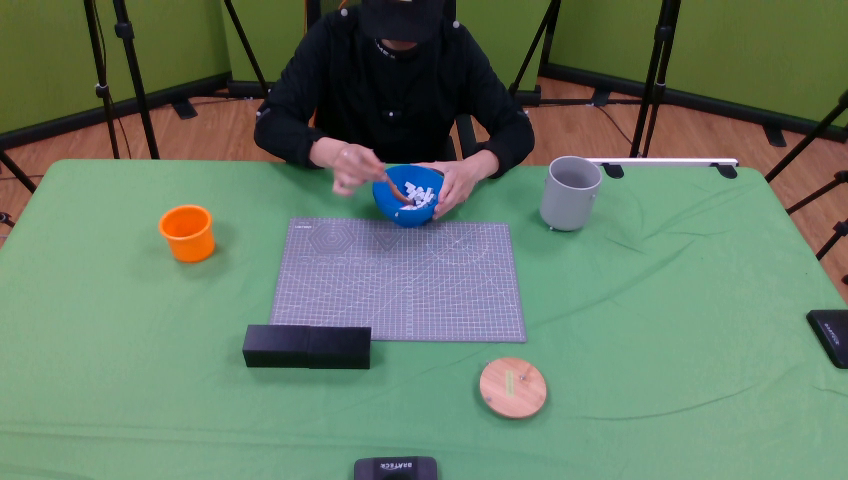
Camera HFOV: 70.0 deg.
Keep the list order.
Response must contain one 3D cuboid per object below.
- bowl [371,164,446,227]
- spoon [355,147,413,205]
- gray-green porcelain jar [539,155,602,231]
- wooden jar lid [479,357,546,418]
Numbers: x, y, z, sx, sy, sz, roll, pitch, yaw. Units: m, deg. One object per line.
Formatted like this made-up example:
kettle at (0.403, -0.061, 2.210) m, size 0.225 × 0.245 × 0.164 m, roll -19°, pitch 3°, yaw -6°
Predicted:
bowl at (-0.033, -0.079, 1.229) m, size 0.151 × 0.077 × 0.150 m, roll 2°, pitch 43°, yaw -2°
spoon at (-0.074, -0.118, 1.133) m, size 0.041 × 0.195 × 0.021 m, roll 26°, pitch 74°, yaw 40°
gray-green porcelain jar at (0.294, -0.091, 1.235) m, size 0.106 × 0.127 × 0.105 m, roll 2°, pitch 46°, yaw -2°
wooden jar lid at (0.142, 0.240, 0.979) m, size 0.108 × 0.021 × 0.107 m, roll 1°, pitch 46°, yaw -1°
